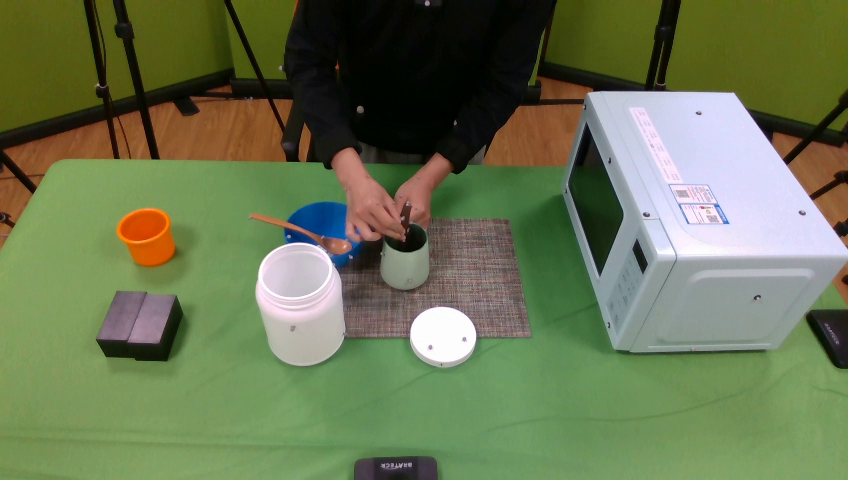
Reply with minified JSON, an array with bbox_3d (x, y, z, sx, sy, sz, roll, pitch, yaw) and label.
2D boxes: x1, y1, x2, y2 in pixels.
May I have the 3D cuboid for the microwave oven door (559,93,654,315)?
[{"bbox_3d":[0.327,-0.074,1.123,0.039,0.245,0.353,-1,46,-5],"label":"microwave oven door"}]

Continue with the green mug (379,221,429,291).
[{"bbox_3d":[-0.044,0.020,1.116,0.092,0.105,0.124,-20,51,-22],"label":"green mug"}]

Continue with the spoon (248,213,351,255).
[{"bbox_3d":[-0.228,-0.015,1.113,0.194,0.022,0.041,23,40,-15],"label":"spoon"}]

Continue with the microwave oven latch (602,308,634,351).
[{"bbox_3d":[0.332,0.153,1.044,0.030,0.029,0.078,-1,45,-4],"label":"microwave oven latch"}]

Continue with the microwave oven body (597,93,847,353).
[{"bbox_3d":[0.475,-0.041,1.110,0.326,0.261,0.438,-1,45,-4],"label":"microwave oven body"}]

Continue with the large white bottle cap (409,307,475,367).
[{"bbox_3d":[0.031,0.165,1.041,0.115,0.018,0.114,2,47,-2],"label":"large white bottle cap"}]

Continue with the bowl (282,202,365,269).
[{"bbox_3d":[-0.186,0.006,1.136,0.151,0.077,0.150,3,46,-2],"label":"bowl"}]

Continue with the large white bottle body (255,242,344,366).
[{"bbox_3d":[-0.196,0.102,0.968,0.131,0.185,0.130,2,49,-2],"label":"large white bottle body"}]

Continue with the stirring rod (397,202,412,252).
[{"bbox_3d":[-0.038,-0.005,1.071,0.014,0.177,0.006,21,51,8],"label":"stirring rod"}]
